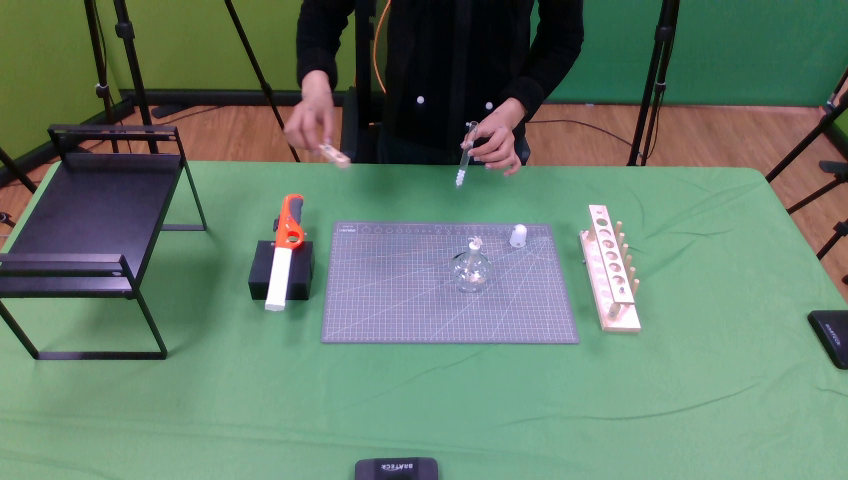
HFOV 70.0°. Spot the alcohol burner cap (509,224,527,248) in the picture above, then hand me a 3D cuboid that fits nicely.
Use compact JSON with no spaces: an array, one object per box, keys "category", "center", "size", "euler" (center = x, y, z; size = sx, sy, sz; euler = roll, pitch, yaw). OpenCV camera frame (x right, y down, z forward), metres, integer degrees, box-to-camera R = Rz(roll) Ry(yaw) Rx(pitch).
[{"category":"alcohol burner cap","center":[0.189,-0.011,1.206],"size":[0.034,0.048,0.033],"euler":[1,46,-1]}]

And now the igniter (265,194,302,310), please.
[{"category":"igniter","center":[-0.253,0.011,1.099],"size":[0.057,0.025,0.274],"euler":[9,46,-12]}]

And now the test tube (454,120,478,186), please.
[{"category":"test tube","center":[0.078,-0.160,1.137],"size":[0.017,0.151,0.017],"euler":[6,46,-7]}]

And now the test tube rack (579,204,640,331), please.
[{"category":"test tube rack","center":[0.353,0.047,1.137],"size":[0.067,0.085,0.241],"euler":[2,46,-2]}]

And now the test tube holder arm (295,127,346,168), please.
[{"category":"test tube holder arm","center":[-0.184,-0.164,1.060],"size":[0.013,0.015,0.177],"euler":[-22,39,-31]}]

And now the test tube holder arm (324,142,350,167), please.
[{"category":"test tube holder arm","center":[-0.152,-0.146,1.032],"size":[0.010,0.015,0.087],"euler":[-22,39,-30]}]

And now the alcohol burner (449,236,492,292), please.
[{"category":"alcohol burner","center":[0.087,0.038,1.101],"size":[0.078,0.119,0.077],"euler":[3,44,-3]}]
